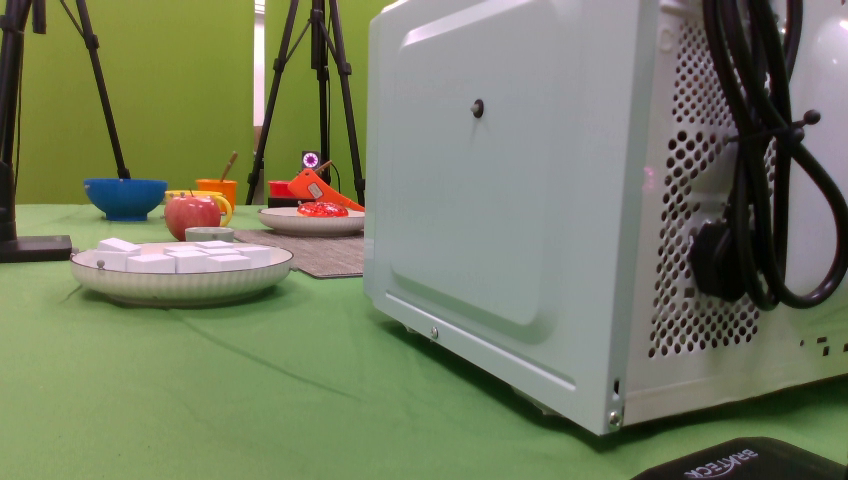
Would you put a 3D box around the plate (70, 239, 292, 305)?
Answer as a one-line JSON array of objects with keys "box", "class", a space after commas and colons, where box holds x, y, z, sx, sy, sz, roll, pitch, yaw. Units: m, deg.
[{"box": [-0.242, 0.031, 0.618, 0.208, 0.039, 0.207, 2, 8, 0], "class": "plate"}]

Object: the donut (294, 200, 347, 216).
[{"box": [-0.193, -0.049, 1.134, 0.099, 0.048, 0.099, 4, 8, 0], "class": "donut"}]

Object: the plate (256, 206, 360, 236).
[{"box": [-0.202, -0.037, 1.120, 0.209, 0.038, 0.209, 2, 8, 0], "class": "plate"}]

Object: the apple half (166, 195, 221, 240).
[{"box": [-0.352, -0.031, 0.935, 0.081, 0.074, 0.053, 1, 11, -40], "class": "apple half"}]

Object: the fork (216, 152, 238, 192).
[{"box": [-0.455, -0.132, 1.367, 0.028, 0.018, 0.207, -2, -35, -37], "class": "fork"}]

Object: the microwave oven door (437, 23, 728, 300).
[{"box": [0.180, -0.072, 0.621, 0.358, 0.243, 0.039, -2, 9, -29], "class": "microwave oven door"}]

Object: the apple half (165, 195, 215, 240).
[{"box": [-0.377, -0.038, 0.964, 0.082, 0.081, 0.032, -4, 15, -39], "class": "apple half"}]

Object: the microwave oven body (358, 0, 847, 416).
[{"box": [0.211, -0.047, 0.474, 0.444, 0.260, 0.324, -1, 7, -28], "class": "microwave oven body"}]

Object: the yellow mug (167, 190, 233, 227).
[{"box": [-0.415, -0.057, 1.132, 0.130, 0.064, 0.100, 6, 8, 16], "class": "yellow mug"}]

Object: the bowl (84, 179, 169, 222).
[{"box": [-0.584, -0.078, 1.194, 0.151, 0.077, 0.151, 3, 8, 0], "class": "bowl"}]

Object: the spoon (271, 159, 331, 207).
[{"box": [-0.307, -0.141, 1.513, 0.193, 0.021, 0.041, -41, 4, 8], "class": "spoon"}]

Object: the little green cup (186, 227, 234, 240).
[{"box": [-0.285, 0.005, 0.805, 0.061, 0.038, 0.061, 2, 8, 0], "class": "little green cup"}]

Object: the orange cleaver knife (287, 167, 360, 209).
[{"box": [-0.209, -0.089, 1.383, 0.212, 0.077, 0.012, 31, 3, -15], "class": "orange cleaver knife"}]

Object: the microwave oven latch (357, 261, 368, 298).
[{"box": [-0.019, 0.033, 0.530, 0.079, 0.029, 0.030, -1, 7, -26], "class": "microwave oven latch"}]
